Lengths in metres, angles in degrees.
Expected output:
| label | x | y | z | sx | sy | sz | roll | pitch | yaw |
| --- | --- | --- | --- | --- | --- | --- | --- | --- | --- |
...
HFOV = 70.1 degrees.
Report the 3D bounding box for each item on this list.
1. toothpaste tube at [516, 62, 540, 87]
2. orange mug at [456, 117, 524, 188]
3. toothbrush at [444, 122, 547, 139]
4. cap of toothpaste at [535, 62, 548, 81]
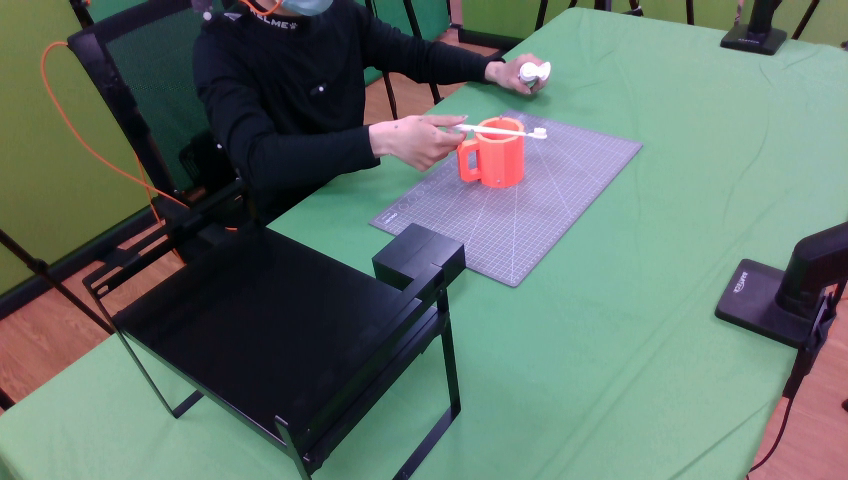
| label | x | y | z | sx | sy | sz | roll | pitch | yaw |
| --- | --- | --- | --- | --- | --- | --- | --- | --- | --- |
| toothpaste tube | 0.218 | -0.339 | 1.251 | 0.055 | 0.034 | 0.165 | -8 | 3 | 9 |
| orange mug | 0.117 | -0.152 | 1.071 | 0.127 | 0.101 | 0.083 | -14 | 41 | -15 |
| toothbrush | 0.121 | -0.190 | 1.034 | 0.181 | 0.017 | 0.014 | 10 | 46 | 18 |
| cap of toothpaste | 0.226 | -0.326 | 1.164 | 0.011 | 0.037 | 0.037 | 11 | 35 | -22 |
